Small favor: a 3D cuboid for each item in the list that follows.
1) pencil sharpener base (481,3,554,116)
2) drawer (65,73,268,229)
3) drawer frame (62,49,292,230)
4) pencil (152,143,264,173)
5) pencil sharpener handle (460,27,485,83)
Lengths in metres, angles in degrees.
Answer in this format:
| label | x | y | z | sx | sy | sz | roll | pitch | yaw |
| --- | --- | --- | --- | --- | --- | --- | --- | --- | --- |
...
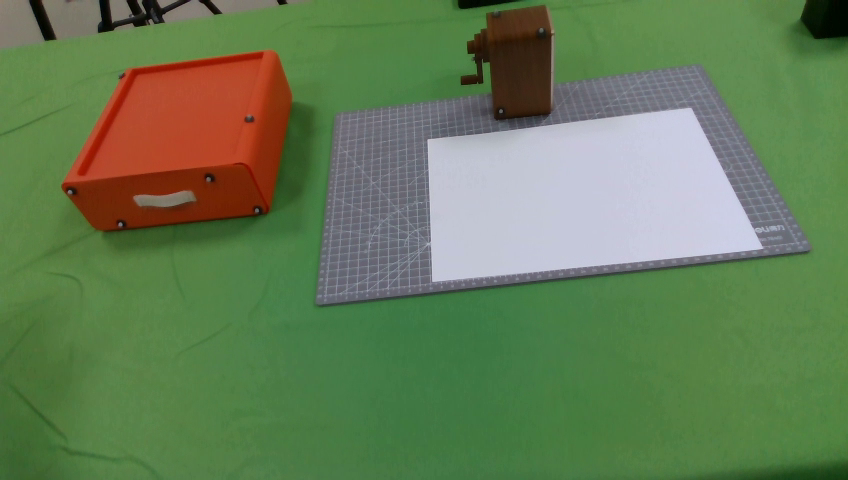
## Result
| label | x | y | z | sx | sy | sz | roll | pitch | yaw |
| --- | --- | --- | --- | --- | --- | --- | --- | --- | --- |
| pencil sharpener base | 0.105 | -0.201 | 0.685 | 0.076 | 0.108 | 0.061 | -5 | 49 | 7 |
| drawer | -0.269 | -0.117 | 0.699 | 0.194 | 0.074 | 0.209 | -6 | 48 | 5 |
| drawer frame | -0.270 | -0.119 | 0.700 | 0.201 | 0.083 | 0.211 | -7 | 48 | 5 |
| pencil | -0.264 | -0.101 | 0.724 | 0.192 | 0.012 | 0.012 | 15 | 53 | 28 |
| pencil sharpener handle | 0.052 | -0.205 | 0.682 | 0.030 | 0.068 | 0.035 | -5 | 54 | 7 |
